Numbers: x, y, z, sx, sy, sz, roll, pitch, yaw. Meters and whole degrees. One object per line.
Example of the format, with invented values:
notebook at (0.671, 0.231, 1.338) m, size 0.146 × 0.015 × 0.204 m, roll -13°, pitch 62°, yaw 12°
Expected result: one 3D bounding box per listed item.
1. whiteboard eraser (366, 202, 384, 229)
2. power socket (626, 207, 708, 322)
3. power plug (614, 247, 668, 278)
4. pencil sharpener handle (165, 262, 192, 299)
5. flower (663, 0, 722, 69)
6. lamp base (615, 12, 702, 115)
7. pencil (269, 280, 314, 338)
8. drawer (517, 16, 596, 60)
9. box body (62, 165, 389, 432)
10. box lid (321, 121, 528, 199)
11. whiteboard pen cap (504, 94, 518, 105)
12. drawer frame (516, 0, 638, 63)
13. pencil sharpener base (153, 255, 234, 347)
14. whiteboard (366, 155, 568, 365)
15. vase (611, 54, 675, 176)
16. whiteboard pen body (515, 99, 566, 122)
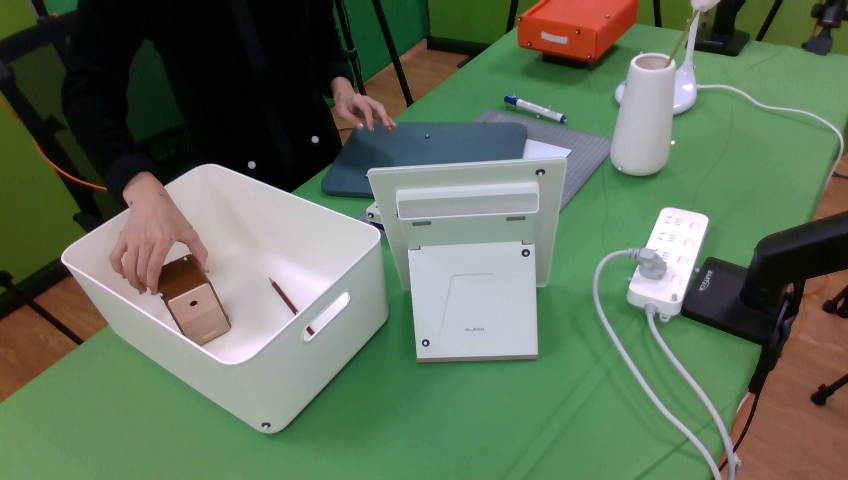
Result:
whiteboard eraser at (-0.037, -0.038, 1.006) m, size 0.112 × 0.042 × 0.055 m, roll 16°, pitch 48°, yaw 25°
power socket at (0.359, 0.025, 0.886) m, size 0.072 × 0.033 × 0.227 m, roll 16°, pitch 46°, yaw 26°
power plug at (0.306, 0.031, 0.851) m, size 0.072 × 0.053 × 0.035 m, roll 24°, pitch 49°, yaw 33°
pencil sharpener handle at (-0.354, 0.053, 0.864) m, size 0.036 × 0.068 × 0.030 m, roll -17°, pitch 40°, yaw -31°
flower at (0.379, -0.261, 0.965) m, size 0.044 × 0.362 × 0.038 m, roll 20°, pitch 53°, yaw 5°
lamp base at (0.484, -0.364, 1.211) m, size 0.180 × 0.181 × 0.159 m, roll -15°, pitch 41°, yaw -14°
pencil at (-0.188, 0.106, 0.880) m, size 0.012 × 0.012 × 0.192 m, roll -28°, pitch 42°, yaw -23°
drawer at (0.352, -0.506, 1.405) m, size 0.193 × 0.073 × 0.212 m, roll 23°, pitch 49°, yaw 32°
box body at (-0.255, 0.065, 0.827) m, size 0.361 × 0.161 × 0.255 m, roll 21°, pitch 48°, yaw 29°
box lid at (0.009, -0.158, 1.167) m, size 0.370 × 0.015 × 0.262 m, roll 3°, pitch 41°, yaw 13°
whiteboard pen cap at (0.190, -0.299, 1.292) m, size 0.033 × 0.018 × 0.018 m, roll 30°, pitch 52°, yaw 28°
drawer frame at (0.355, -0.508, 1.411) m, size 0.200 × 0.083 × 0.214 m, roll 23°, pitch 51°, yaw 32°
pencil sharpener base at (-0.320, 0.086, 0.841) m, size 0.061 × 0.107 × 0.076 m, roll -29°, pitch 46°, yaw -20°
whiteboard at (0.059, 0.050, 0.738) m, size 0.217 × 0.307 × 0.143 m, roll -2°, pitch 60°, yaw 5°
vase at (0.377, -0.209, 1.031) m, size 0.098 × 0.201 × 0.097 m, roll -3°, pitch 40°, yaw 3°
whiteboard pen body at (0.233, -0.274, 1.262) m, size 0.139 × 0.017 × 0.017 m, roll 28°, pitch 51°, yaw 29°
